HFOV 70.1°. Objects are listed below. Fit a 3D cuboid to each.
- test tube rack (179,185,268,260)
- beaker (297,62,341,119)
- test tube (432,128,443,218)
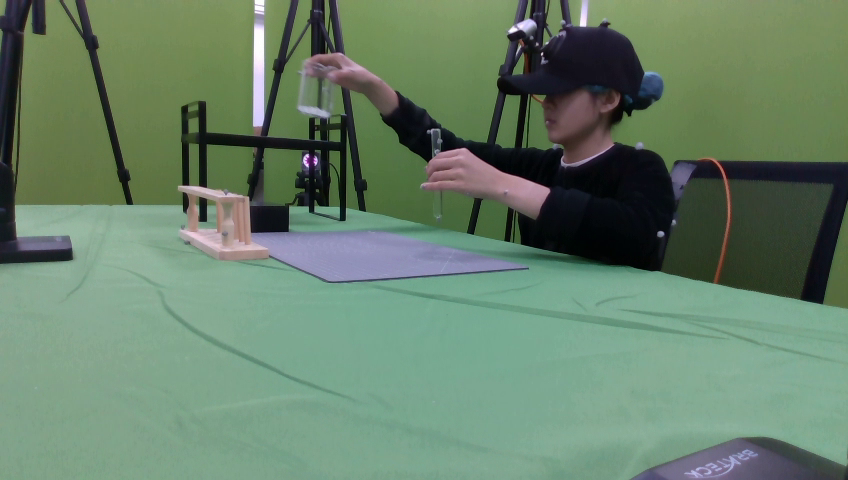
[{"bbox_3d":[-0.303,-0.031,0.898,0.067,0.085,0.241,-2,9,-33],"label":"test tube rack"},{"bbox_3d":[-0.209,-0.296,1.206,0.074,0.100,0.083,7,9,-31],"label":"beaker"},{"bbox_3d":[0.023,-0.111,1.009,0.017,0.150,0.017,-1,8,1],"label":"test tube"}]
